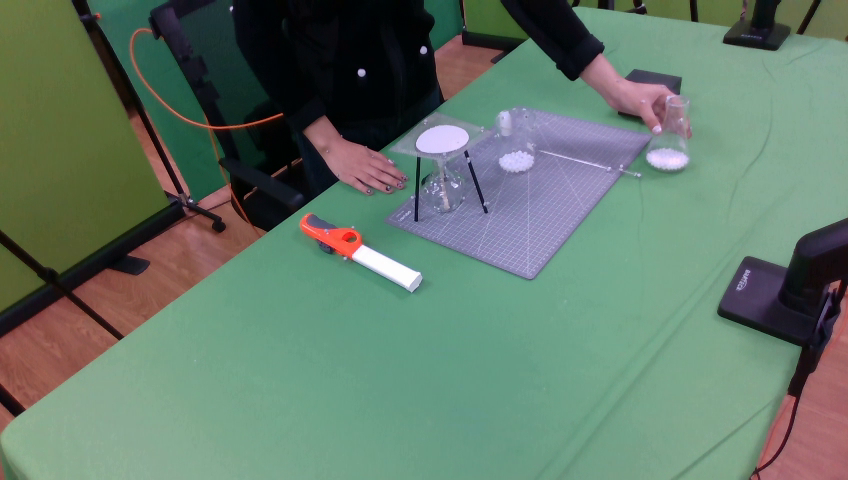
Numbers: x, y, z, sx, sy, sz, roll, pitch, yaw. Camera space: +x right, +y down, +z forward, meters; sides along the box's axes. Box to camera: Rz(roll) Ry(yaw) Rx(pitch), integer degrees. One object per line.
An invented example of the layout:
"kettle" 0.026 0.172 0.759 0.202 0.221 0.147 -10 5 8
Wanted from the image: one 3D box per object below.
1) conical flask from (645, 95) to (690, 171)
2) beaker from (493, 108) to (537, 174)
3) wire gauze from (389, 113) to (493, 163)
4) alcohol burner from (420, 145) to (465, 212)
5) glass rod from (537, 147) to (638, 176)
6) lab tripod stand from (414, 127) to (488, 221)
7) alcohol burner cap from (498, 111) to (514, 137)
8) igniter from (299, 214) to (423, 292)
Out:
"conical flask" 0.425 -0.185 1.035 0.075 0.122 0.075 -4 42 4
"beaker" 0.170 -0.177 1.097 0.074 0.101 0.083 -34 47 -25
"wire gauze" 0.026 -0.164 0.976 0.120 0.011 0.125 23 49 35
"alcohol burner" 0.031 -0.108 1.030 0.078 0.119 0.077 -5 38 4
"glass rod" 0.294 -0.145 1.105 0.198 0.008 0.008 22 50 32
"lab tripod stand" 0.035 -0.114 1.021 0.148 0.132 0.147 -7 39 6
"alcohol burner cap" 0.163 -0.235 1.211 0.034 0.048 0.033 -6 40 6
"igniter" -0.112 0.016 0.983 0.274 0.025 0.057 26 62 35
